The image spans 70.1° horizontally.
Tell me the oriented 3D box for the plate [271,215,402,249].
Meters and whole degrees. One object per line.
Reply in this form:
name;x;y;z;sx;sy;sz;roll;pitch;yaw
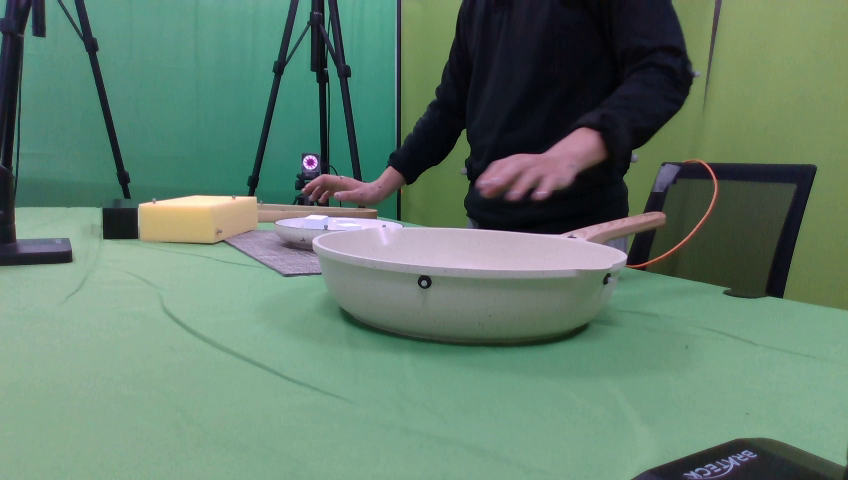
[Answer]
plate;-0.141;-0.012;0.978;0.208;0.039;0.207;2;7;0

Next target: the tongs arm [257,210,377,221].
tongs arm;-0.280;-0.056;1.355;0.389;0.028;0.028;-1;6;-28

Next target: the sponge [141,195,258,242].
sponge;-0.380;-0.040;1.047;0.118;0.061;0.207;1;8;3

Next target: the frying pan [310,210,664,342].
frying pan;0.120;0.011;0.643;0.490;0.102;0.305;-14;16;-37

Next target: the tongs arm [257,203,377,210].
tongs arm;-0.306;-0.070;1.430;0.386;0.026;0.050;2;8;-15
